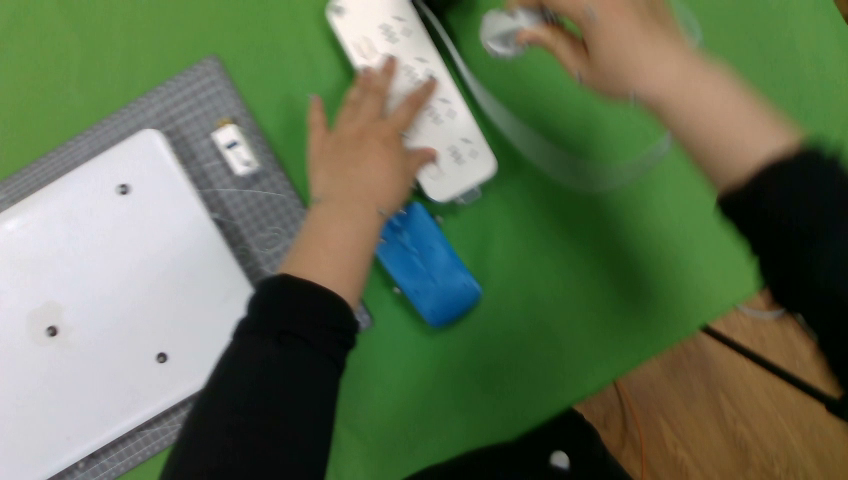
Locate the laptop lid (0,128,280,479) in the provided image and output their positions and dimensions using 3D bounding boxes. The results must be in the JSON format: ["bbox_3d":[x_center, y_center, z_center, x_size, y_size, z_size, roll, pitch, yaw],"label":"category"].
[{"bbox_3d":[-0.340,0.082,0.563,0.357,0.013,0.242,-29,94,1],"label":"laptop lid"}]

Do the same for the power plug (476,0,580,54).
[{"bbox_3d":[0.074,-0.153,0.437,0.073,0.052,0.035,-3,87,-7],"label":"power plug"}]

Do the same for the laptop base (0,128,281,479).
[{"bbox_3d":[-0.341,0.080,0.574,0.354,0.023,0.236,-30,95,1],"label":"laptop base"}]

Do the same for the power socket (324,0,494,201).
[{"bbox_3d":[-0.013,-0.139,0.558,0.072,0.032,0.227,-30,92,1],"label":"power socket"}]

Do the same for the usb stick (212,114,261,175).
[{"bbox_3d":[-0.177,-0.091,0.560,0.021,0.027,0.059,-31,90,3],"label":"usb stick"}]

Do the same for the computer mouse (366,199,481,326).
[{"bbox_3d":[-0.001,0.021,0.561,0.063,0.041,0.117,-35,87,4],"label":"computer mouse"}]
